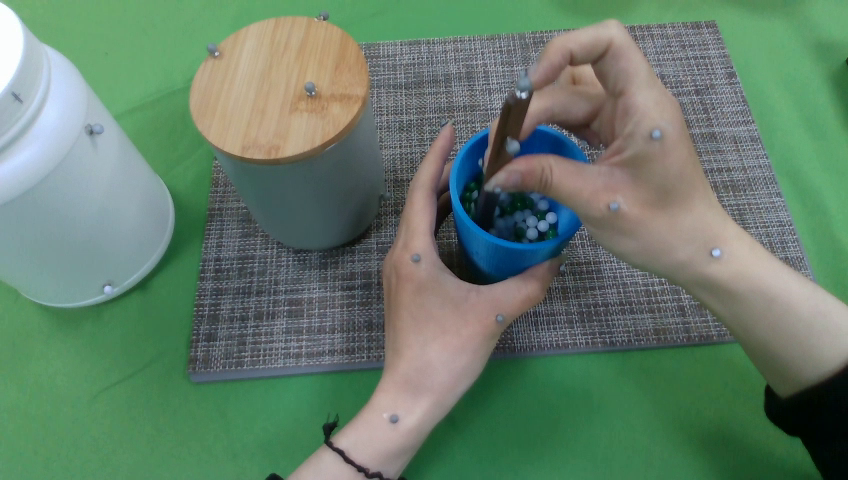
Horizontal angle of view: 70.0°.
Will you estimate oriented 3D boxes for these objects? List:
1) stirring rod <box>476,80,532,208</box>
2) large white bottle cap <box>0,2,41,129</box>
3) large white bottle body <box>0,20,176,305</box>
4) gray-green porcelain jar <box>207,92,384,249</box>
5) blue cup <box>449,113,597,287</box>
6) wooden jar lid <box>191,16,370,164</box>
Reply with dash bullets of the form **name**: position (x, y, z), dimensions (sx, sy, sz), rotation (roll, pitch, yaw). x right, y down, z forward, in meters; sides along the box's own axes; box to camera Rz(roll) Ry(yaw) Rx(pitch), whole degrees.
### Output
- **stirring rod**: position (0.036, -0.030, 0.324), dimensions (0.014, 0.177, 0.006), rotation (-40, 75, -15)
- **large white bottle cap**: position (-0.266, -0.087, 0.322), dimensions (0.115, 0.018, 0.114), rotation (-1, 63, 2)
- **large white bottle body**: position (-0.262, -0.048, 0.398), dimensions (0.130, 0.186, 0.129), rotation (-1, 63, 2)
- **gray-green porcelain jar**: position (-0.084, -0.061, 0.426), dimensions (0.106, 0.127, 0.105), rotation (-1, 63, 2)
- **blue cup**: position (0.057, -0.014, 0.393), dimensions (0.092, 0.101, 0.092), rotation (0, 66, 0)
- **wooden jar lid**: position (-0.086, -0.090, 0.371), dimensions (0.108, 0.021, 0.107), rotation (-2, 64, 5)
